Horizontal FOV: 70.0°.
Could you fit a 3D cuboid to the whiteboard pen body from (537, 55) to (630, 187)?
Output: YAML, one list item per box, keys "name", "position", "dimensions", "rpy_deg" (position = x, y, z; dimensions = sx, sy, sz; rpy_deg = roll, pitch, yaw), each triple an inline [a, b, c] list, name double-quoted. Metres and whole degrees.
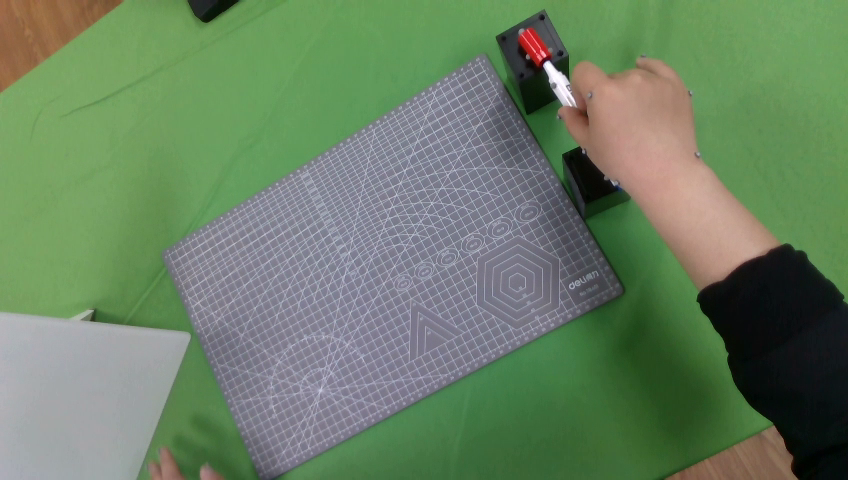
- name: "whiteboard pen body"
  position: [0.136, -0.107, 0.528]
  dimensions: [0.017, 0.017, 0.140]
  rpy_deg: [-32, 79, 9]

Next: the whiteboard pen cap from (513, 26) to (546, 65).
- name: "whiteboard pen cap"
  position: [0.095, -0.174, 0.543]
  dimensions: [0.017, 0.017, 0.032]
  rpy_deg: [-35, 80, 9]

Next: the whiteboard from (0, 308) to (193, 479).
- name: "whiteboard"
  position: [-0.444, 0.159, 0.632]
  dimensions: [0.142, 0.308, 0.217]
  rpy_deg: [22, 91, 34]
